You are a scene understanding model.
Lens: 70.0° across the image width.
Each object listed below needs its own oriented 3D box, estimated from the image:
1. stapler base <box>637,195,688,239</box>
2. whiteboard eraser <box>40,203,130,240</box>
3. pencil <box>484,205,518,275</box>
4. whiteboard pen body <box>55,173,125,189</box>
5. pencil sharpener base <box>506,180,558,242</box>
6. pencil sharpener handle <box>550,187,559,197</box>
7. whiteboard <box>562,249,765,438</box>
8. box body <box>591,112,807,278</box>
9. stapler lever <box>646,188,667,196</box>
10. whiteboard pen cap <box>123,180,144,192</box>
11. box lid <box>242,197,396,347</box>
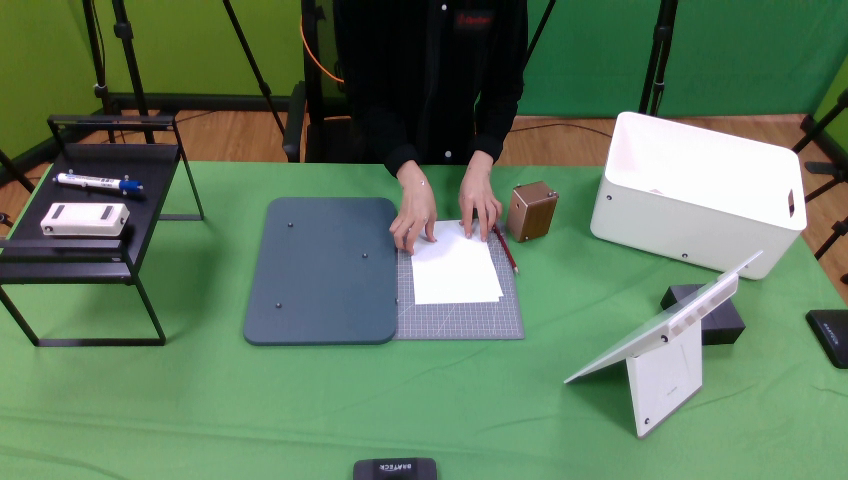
[{"bbox_3d":[0.507,-0.055,1.280,0.041,0.024,0.129,-14,47,-19],"label":"stapler base"},{"bbox_3d":[-0.513,-0.028,0.922,0.113,0.042,0.055,1,48,-3],"label":"whiteboard eraser"},{"bbox_3d":[0.155,-0.001,1.217,0.012,0.012,0.192,-9,48,-12],"label":"pencil"},{"bbox_3d":[-0.539,-0.095,0.998,0.141,0.017,0.017,6,46,6],"label":"whiteboard pen body"},{"bbox_3d":[0.216,-0.058,1.211,0.077,0.107,0.061,-16,49,-19],"label":"pencil sharpener base"},{"bbox_3d":[0.261,-0.084,1.221,0.031,0.068,0.036,-16,66,-19],"label":"pencil sharpener handle"},{"bbox_3d":[0.386,0.175,0.905,0.217,0.306,0.143,-26,72,-26],"label":"whiteboard"},{"bbox_3d":[0.540,-0.092,1.230,0.363,0.161,0.253,16,47,11],"label":"box body"},{"bbox_3d":[0.507,-0.075,1.262,0.027,0.040,0.117,-14,46,-19],"label":"stapler lever"},{"bbox_3d":[-0.479,-0.089,0.993,0.033,0.018,0.018,7,46,14],"label":"whiteboard pen cap"},{"bbox_3d":[-0.186,0.046,1.147,0.263,0.015,0.369,0,46,-3],"label":"box lid"}]
